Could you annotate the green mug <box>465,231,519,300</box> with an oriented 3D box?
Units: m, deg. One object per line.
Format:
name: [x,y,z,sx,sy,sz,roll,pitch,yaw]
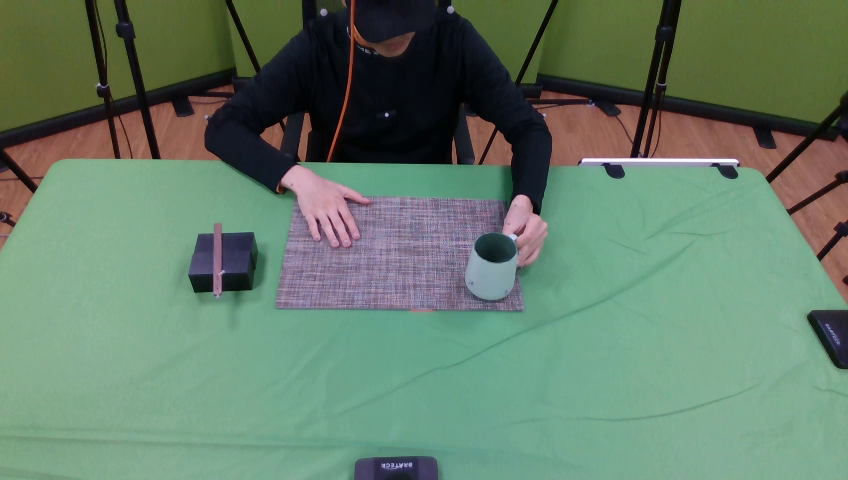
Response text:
green mug: [0.134,0.037,1.108,0.092,0.105,0.125,30,52,23]

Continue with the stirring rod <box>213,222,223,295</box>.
stirring rod: [-0.369,0.030,1.083,0.014,0.006,0.175,-9,48,-10]
